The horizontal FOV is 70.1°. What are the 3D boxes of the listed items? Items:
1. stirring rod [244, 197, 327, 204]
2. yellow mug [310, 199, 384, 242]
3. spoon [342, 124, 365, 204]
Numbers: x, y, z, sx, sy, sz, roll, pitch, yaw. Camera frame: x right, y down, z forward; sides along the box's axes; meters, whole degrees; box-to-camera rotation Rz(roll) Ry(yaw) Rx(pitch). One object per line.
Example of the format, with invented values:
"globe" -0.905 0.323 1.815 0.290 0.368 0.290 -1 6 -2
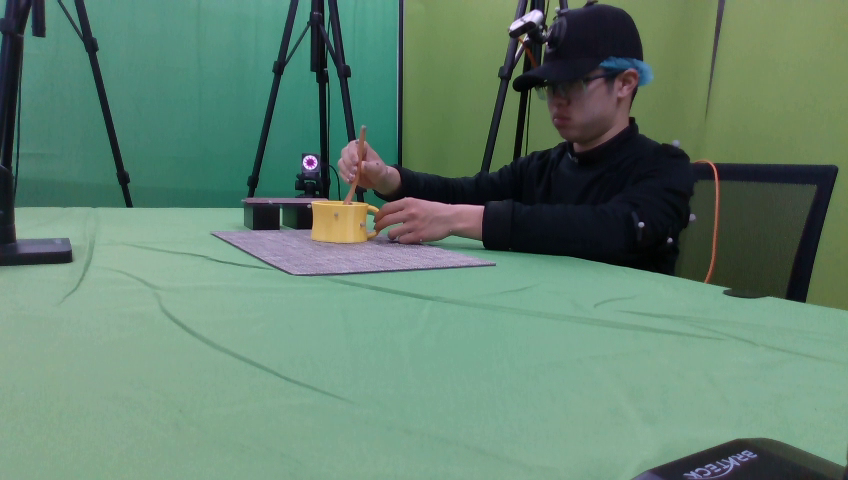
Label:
"stirring rod" -0.270 -0.078 1.201 0.177 0.006 0.014 -2 44 -37
"yellow mug" -0.132 -0.035 1.054 0.131 0.064 0.099 0 8 -23
"spoon" -0.123 -0.104 1.047 0.022 0.193 0.041 13 5 -15
